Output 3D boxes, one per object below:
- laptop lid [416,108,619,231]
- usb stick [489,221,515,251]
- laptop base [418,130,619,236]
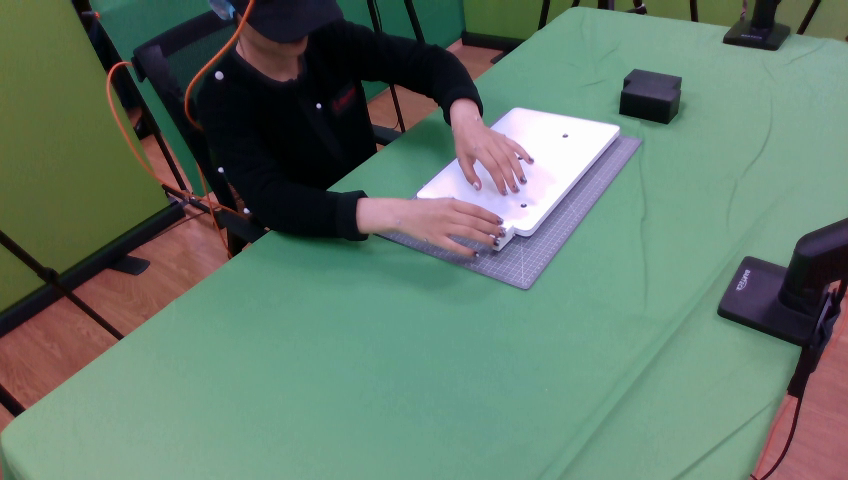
[{"bbox_3d":[0.177,-0.147,1.106,0.239,0.013,0.357,21,48,34],"label":"laptop lid"},{"bbox_3d":[0.127,-0.011,0.954,0.021,0.027,0.059,22,47,33],"label":"usb stick"},{"bbox_3d":[0.180,-0.137,1.112,0.233,0.023,0.355,19,47,33],"label":"laptop base"}]
